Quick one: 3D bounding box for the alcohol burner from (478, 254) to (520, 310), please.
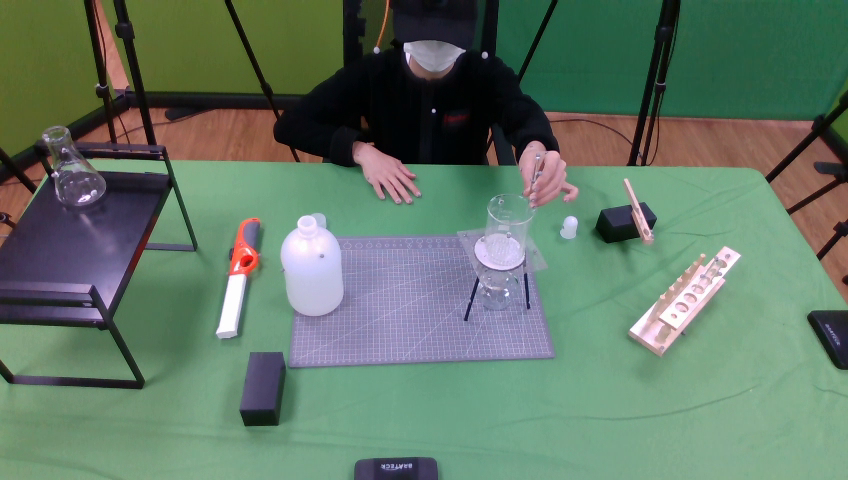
[{"bbox_3d":[0.133,0.068,1.071,0.078,0.120,0.077,0,47,0],"label":"alcohol burner"}]

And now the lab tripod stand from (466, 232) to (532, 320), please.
[{"bbox_3d":[0.125,0.059,1.065,0.148,0.132,0.147,1,45,0],"label":"lab tripod stand"}]

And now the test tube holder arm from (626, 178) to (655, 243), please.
[{"bbox_3d":[0.434,-0.063,1.220,0.013,0.015,0.177,3,47,-4],"label":"test tube holder arm"}]

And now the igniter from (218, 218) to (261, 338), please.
[{"bbox_3d":[-0.336,0.060,1.111,0.057,0.025,0.274,-8,46,4],"label":"igniter"}]

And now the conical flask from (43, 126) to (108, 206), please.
[{"bbox_3d":[-0.555,-0.119,0.953,0.075,0.122,0.075,2,46,-2],"label":"conical flask"}]

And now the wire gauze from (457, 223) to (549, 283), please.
[{"bbox_3d":[0.131,0.016,1.017,0.121,0.011,0.124,-10,44,-15],"label":"wire gauze"}]

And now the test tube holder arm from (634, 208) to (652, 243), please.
[{"bbox_3d":[0.428,-0.030,1.189,0.010,0.015,0.087,3,47,-3],"label":"test tube holder arm"}]

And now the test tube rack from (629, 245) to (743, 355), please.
[{"bbox_3d":[0.474,0.095,1.091,0.242,0.085,0.066,-34,56,-31],"label":"test tube rack"}]

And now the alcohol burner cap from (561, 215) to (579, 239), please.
[{"bbox_3d":[0.299,-0.030,1.231,0.034,0.048,0.033,0,46,0],"label":"alcohol burner cap"}]

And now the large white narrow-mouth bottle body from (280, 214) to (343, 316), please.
[{"bbox_3d":[-0.190,0.035,1.025,0.102,0.195,0.101,2,46,-2],"label":"large white narrow-mouth bottle body"}]

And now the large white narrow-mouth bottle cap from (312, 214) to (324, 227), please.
[{"bbox_3d":[-0.219,-0.033,1.214,0.038,0.024,0.037,2,46,-2],"label":"large white narrow-mouth bottle cap"}]

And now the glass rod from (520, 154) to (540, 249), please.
[{"bbox_3d":[0.164,-0.054,0.940,0.008,0.201,0.008,0,47,0],"label":"glass rod"}]

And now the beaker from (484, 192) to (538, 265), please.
[{"bbox_3d":[0.137,-0.016,0.980,0.084,0.101,0.073,-6,45,-9],"label":"beaker"}]

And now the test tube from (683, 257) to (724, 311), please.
[{"bbox_3d":[0.476,0.080,1.037,0.017,0.151,0.017,1,50,-2],"label":"test tube"}]
